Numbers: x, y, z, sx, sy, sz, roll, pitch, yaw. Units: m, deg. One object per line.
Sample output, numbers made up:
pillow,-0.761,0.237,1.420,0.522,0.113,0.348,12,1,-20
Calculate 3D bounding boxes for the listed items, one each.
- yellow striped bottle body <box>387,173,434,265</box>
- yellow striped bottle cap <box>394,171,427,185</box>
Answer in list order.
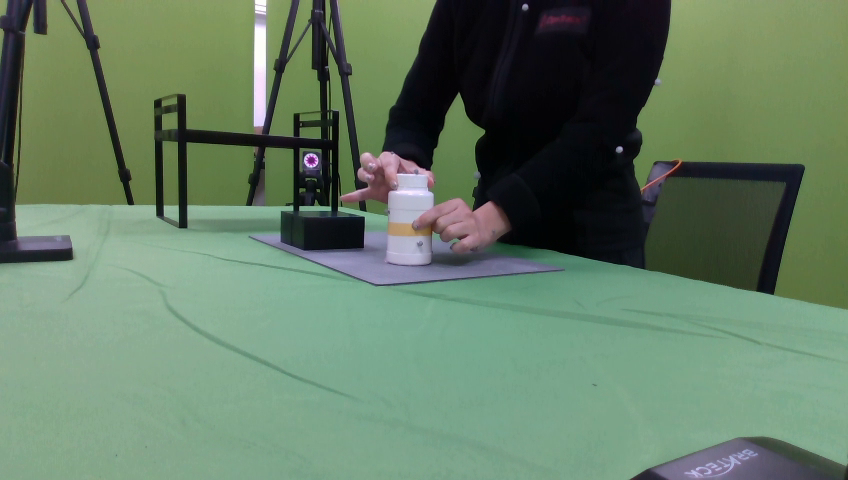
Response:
yellow striped bottle body,-0.018,-0.031,0.813,0.063,0.120,0.063,1,8,0
yellow striped bottle cap,-0.017,-0.082,0.808,0.044,0.018,0.044,4,9,0
